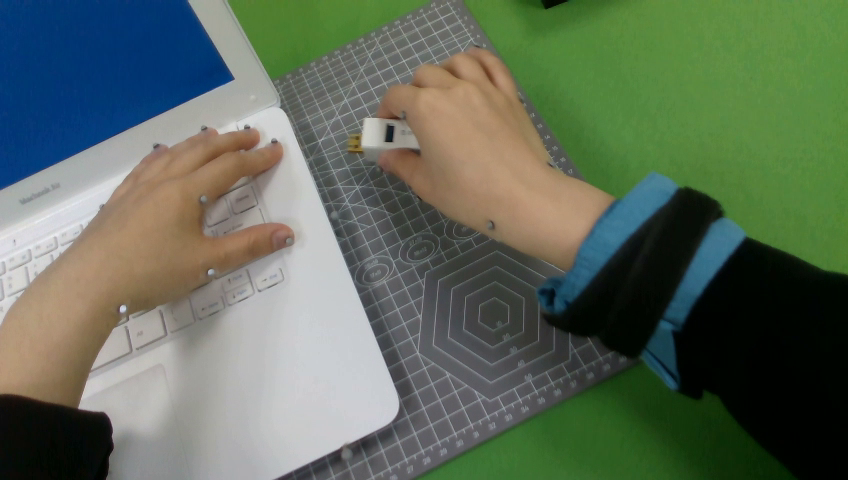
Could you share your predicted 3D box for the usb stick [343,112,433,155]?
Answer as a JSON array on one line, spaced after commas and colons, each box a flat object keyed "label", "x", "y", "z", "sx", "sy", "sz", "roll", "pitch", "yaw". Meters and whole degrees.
[{"label": "usb stick", "x": -0.024, "y": -0.067, "z": 0.386, "sx": 0.059, "sy": 0.027, "sz": 0.021, "roll": 2, "pitch": 82, "yaw": 8}]

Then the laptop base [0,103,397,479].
[{"label": "laptop base", "x": -0.214, "y": 0.073, "z": 0.382, "sx": 0.354, "sy": 0.023, "sz": 0.233, "roll": -25, "pitch": 68, "yaw": 0}]

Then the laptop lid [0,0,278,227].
[{"label": "laptop lid", "x": -0.297, "y": -0.106, "z": 0.355, "sx": 0.357, "sy": 0.244, "sz": 0.013, "roll": -26, "pitch": 40, "yaw": 1}]
